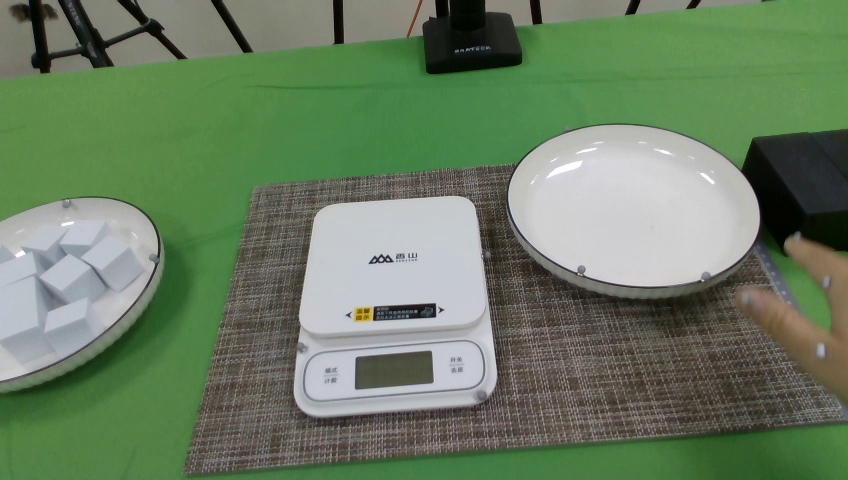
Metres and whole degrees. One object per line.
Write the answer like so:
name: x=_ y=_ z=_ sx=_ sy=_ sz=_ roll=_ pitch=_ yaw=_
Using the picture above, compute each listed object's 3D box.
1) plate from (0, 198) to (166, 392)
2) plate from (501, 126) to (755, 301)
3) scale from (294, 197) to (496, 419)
plate: x=-0.325 y=0.045 z=0.522 sx=0.209 sy=0.038 sz=0.207 roll=-3 pitch=46 yaw=3
plate: x=0.172 y=-0.024 z=0.530 sx=0.207 sy=0.039 sz=0.205 roll=-3 pitch=46 yaw=3
scale: x=-0.024 y=0.045 z=0.489 sx=0.148 sy=0.032 sz=0.199 roll=-5 pitch=46 yaw=2
